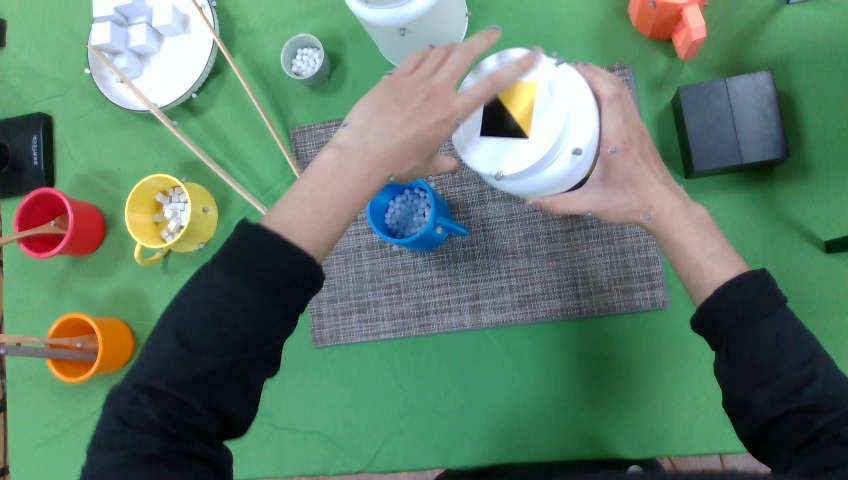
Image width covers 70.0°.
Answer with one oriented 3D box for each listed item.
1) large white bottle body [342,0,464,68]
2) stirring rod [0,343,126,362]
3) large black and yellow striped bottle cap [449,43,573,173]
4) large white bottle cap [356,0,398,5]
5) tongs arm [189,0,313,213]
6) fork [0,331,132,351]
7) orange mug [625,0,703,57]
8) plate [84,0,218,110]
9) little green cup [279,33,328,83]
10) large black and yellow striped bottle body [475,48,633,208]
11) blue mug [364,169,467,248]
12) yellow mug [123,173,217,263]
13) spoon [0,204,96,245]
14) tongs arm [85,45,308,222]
[{"bbox_3d":[-0.028,-0.299,0.722,0.130,0.185,0.130,-1,85,12],"label":"large white bottle body"},{"bbox_3d":[-0.494,0.149,0.805,0.006,0.177,0.014,-25,59,52],"label":"stirring rod"},{"bbox_3d":[0.074,-0.117,0.537,0.114,0.019,0.114,-4,82,32],"label":"large black and yellow striped bottle cap"},{"bbox_3d":[-0.046,-0.307,0.640,0.114,0.018,0.114,-1,85,13],"label":"large white bottle cap"},{"bbox_3d":[-0.249,-0.207,0.821,0.028,0.028,0.387,-32,86,-1],"label":"tongs arm"},{"bbox_3d":[-0.504,0.132,0.806,0.209,0.018,0.028,9,84,-31],"label":"fork"},{"bbox_3d":[0.288,-0.280,0.698,0.083,0.101,0.125,-18,77,10],"label":"orange mug"},{"bbox_3d":[-0.387,-0.286,0.873,0.207,0.039,0.207,-1,86,12],"label":"plate"},{"bbox_3d":[-0.161,-0.244,0.821,0.061,0.039,0.061,-1,87,11],"label":"little green cup"},{"bbox_3d":[0.122,-0.108,0.606,0.130,0.185,0.130,-4,83,33],"label":"large black and yellow striped bottle body"},{"bbox_3d":[-0.003,-0.030,0.732,0.116,0.106,0.082,18,89,13],"label":"blue mug"},{"bbox_3d":[-0.355,-0.024,0.830,0.099,0.064,0.131,31,93,12],"label":"yellow mug"},{"bbox_3d":[-0.553,-0.007,0.831,0.194,0.022,0.041,-25,75,-36],"label":"spoon"},{"bbox_3d":[-0.312,-0.151,0.826,0.384,0.026,0.051,44,91,5],"label":"tongs arm"}]
